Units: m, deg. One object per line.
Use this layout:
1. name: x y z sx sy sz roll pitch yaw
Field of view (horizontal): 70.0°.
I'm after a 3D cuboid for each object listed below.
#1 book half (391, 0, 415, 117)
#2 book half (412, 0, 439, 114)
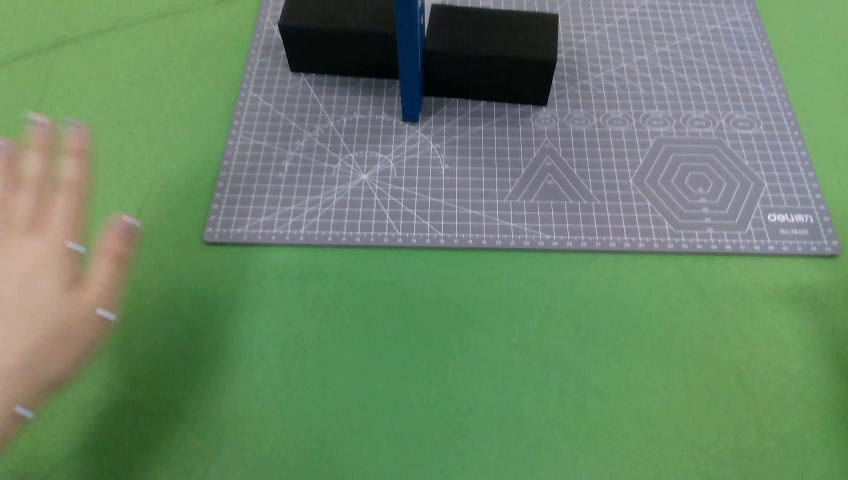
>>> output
1. book half: -0.006 -0.211 0.425 0.016 0.212 0.147 6 61 4
2. book half: 0.001 -0.213 0.427 0.007 0.212 0.142 7 61 5
